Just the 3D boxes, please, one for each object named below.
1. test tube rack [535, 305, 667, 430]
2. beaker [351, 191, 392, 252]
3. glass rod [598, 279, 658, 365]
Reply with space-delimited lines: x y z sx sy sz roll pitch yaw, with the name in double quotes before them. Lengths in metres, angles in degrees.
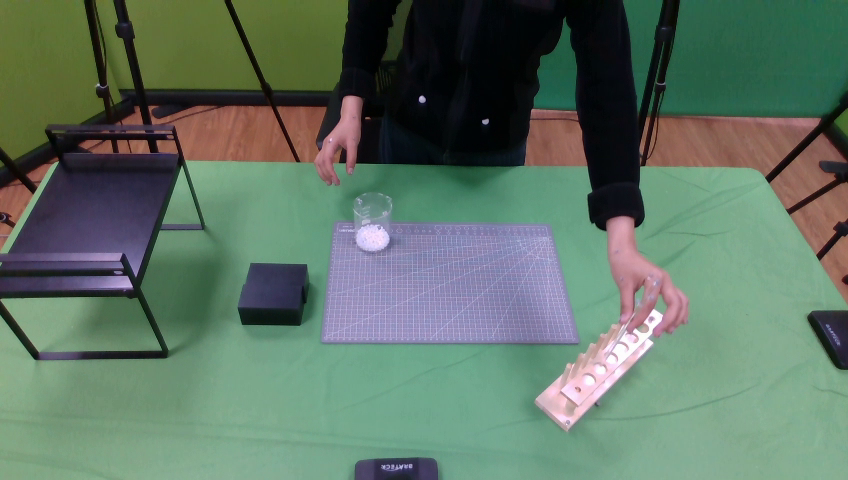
"test tube rack" 0.290 0.193 0.984 0.242 0.085 0.066 -32 56 -30
"beaker" -0.097 -0.033 1.161 0.084 0.101 0.073 -29 55 -28
"glass rod" 0.285 0.121 0.856 0.008 0.200 0.008 7 46 -7
